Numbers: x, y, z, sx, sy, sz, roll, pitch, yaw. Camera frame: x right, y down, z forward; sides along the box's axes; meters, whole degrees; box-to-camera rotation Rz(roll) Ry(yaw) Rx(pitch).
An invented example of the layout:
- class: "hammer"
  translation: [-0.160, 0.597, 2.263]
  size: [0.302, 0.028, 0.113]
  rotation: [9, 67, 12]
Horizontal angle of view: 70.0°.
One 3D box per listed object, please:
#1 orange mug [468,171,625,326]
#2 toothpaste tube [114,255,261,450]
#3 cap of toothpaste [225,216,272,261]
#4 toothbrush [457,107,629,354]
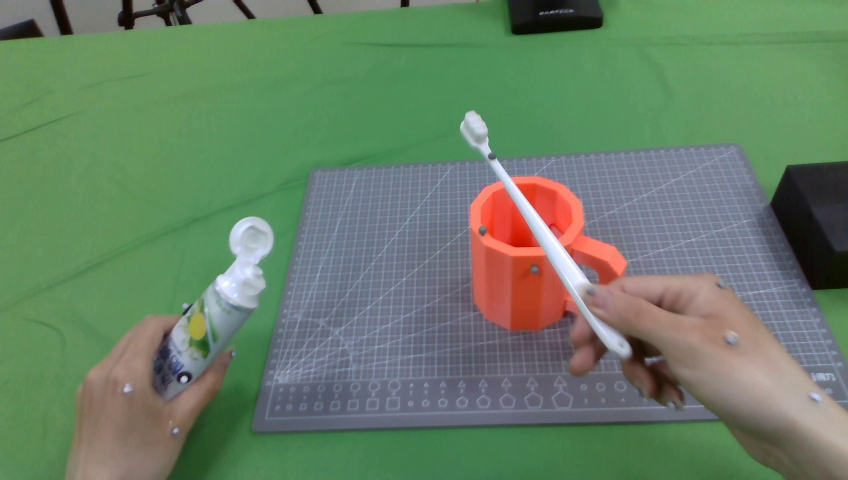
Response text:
- class: "orange mug"
  translation: [0.094, 0.014, 0.482]
  size: [0.125, 0.102, 0.083]
  rotation: [20, 54, 28]
- class: "toothpaste tube"
  translation: [-0.175, 0.076, 0.447]
  size: [0.165, 0.035, 0.054]
  rotation: [-51, 58, 9]
- class: "cap of toothpaste"
  translation: [-0.129, 0.000, 0.450]
  size: [0.037, 0.037, 0.011]
  rotation: [-44, 28, -27]
- class: "toothbrush"
  translation: [0.069, -0.012, 0.366]
  size: [0.014, 0.017, 0.180]
  rotation: [-22, 68, -21]
